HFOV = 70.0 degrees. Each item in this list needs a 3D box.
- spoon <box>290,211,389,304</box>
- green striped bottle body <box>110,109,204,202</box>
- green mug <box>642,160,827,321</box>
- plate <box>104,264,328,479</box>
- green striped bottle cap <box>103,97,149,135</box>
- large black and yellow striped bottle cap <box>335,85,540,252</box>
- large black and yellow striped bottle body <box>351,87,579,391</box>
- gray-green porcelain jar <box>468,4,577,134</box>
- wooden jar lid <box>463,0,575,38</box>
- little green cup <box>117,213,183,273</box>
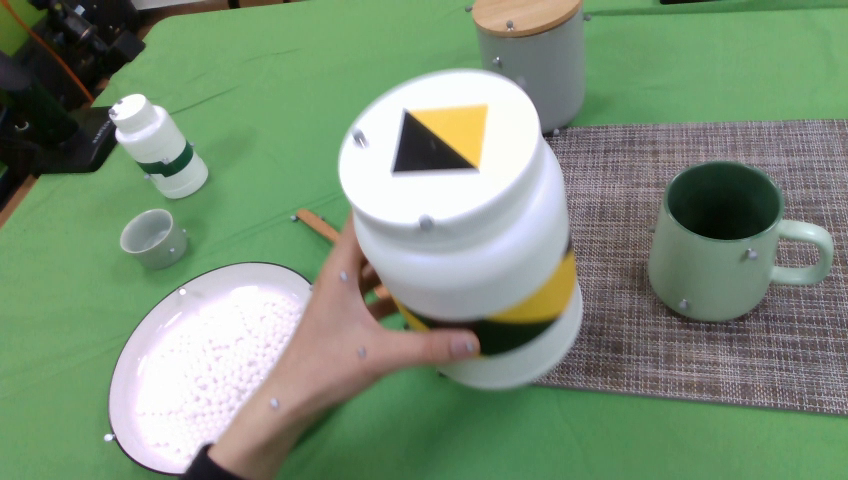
[{"bbox_3d":[-0.082,0.009,0.612,0.192,0.022,0.041,33,84,34],"label":"spoon"},{"bbox_3d":[-0.316,-0.104,0.707,0.063,0.120,0.062,-8,51,11],"label":"green striped bottle body"},{"bbox_3d":[0.234,0.005,0.463,0.124,0.106,0.092,10,56,23],"label":"green mug"},{"bbox_3d":[-0.182,0.116,0.549,0.209,0.038,0.207,-8,51,10],"label":"plate"},{"bbox_3d":[-0.328,-0.136,0.668,0.044,0.020,0.044,-6,54,9],"label":"green striped bottle cap"},{"bbox_3d":[0.006,-0.044,0.337,0.115,0.019,0.114,-8,51,11],"label":"large black and yellow striped bottle cap"},{"bbox_3d":[0.030,0.006,0.400,0.130,0.186,0.129,-10,51,13],"label":"large black and yellow striped bottle body"},{"bbox_3d":[0.107,-0.183,0.637,0.106,0.128,0.105,-8,47,9],"label":"gray-green porcelain jar"},{"bbox_3d":[0.093,-0.225,0.591,0.108,0.021,0.107,-10,48,12],"label":"wooden jar lid"},{"bbox_3d":[-0.300,0.005,0.670,0.061,0.039,0.061,-8,51,10],"label":"little green cup"}]
